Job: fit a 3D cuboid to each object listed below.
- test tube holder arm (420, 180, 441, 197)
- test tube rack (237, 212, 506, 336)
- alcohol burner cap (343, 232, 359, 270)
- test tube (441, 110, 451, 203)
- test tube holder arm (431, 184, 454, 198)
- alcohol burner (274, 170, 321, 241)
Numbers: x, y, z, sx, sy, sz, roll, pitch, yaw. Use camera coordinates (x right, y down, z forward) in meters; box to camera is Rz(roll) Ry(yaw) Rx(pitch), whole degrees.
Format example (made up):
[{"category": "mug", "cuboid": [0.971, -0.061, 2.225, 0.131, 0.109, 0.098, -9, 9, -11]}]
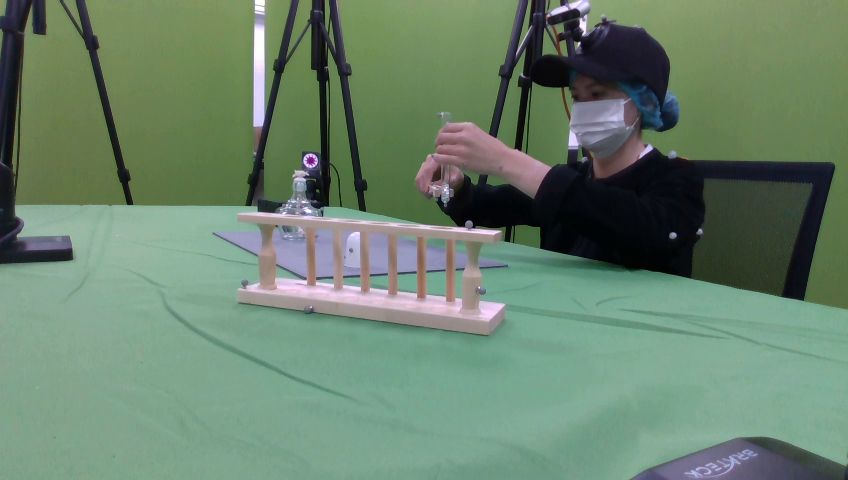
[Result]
[{"category": "test tube holder arm", "cuboid": [0.010, -0.094, 1.094, 0.013, 0.015, 0.178, 5, 10, -11]}, {"category": "test tube rack", "cuboid": [-0.049, 0.024, 0.552, 0.242, 0.085, 0.067, 5, 8, 18]}, {"category": "alcohol burner cap", "cuboid": [-0.087, 0.013, 0.776, 0.034, 0.048, 0.034, 3, 7, 0]}, {"category": "test tube", "cuboid": [0.037, -0.136, 0.993, 0.017, 0.150, 0.017, 0, 12, 0]}, {"category": "test tube holder arm", "cuboid": [0.028, -0.086, 1.054, 0.010, 0.015, 0.087, 0, 11, -27]}, {"category": "alcohol burner", "cuboid": [-0.212, -0.058, 1.015, 0.078, 0.119, 0.078, 4, 5, 0]}]
